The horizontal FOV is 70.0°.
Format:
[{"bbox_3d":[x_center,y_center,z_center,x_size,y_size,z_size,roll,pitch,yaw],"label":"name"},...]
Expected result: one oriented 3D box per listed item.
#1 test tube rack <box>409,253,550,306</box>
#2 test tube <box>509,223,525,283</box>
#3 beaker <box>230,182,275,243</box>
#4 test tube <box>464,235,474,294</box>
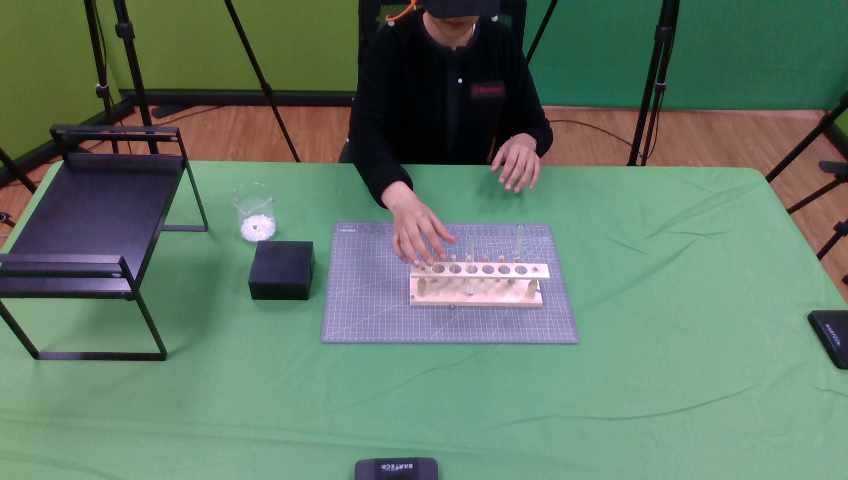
[{"bbox_3d":[0.095,0.067,1.093,0.242,0.085,0.066,1,47,-3],"label":"test tube rack"},{"bbox_3d":[0.165,0.024,1.077,0.017,0.151,0.017,0,48,1],"label":"test tube"},{"bbox_3d":[-0.328,-0.049,1.166,0.074,0.101,0.083,2,47,-2],"label":"beaker"},{"bbox_3d":[0.078,0.045,1.044,0.017,0.151,0.017,-2,49,3],"label":"test tube"}]
